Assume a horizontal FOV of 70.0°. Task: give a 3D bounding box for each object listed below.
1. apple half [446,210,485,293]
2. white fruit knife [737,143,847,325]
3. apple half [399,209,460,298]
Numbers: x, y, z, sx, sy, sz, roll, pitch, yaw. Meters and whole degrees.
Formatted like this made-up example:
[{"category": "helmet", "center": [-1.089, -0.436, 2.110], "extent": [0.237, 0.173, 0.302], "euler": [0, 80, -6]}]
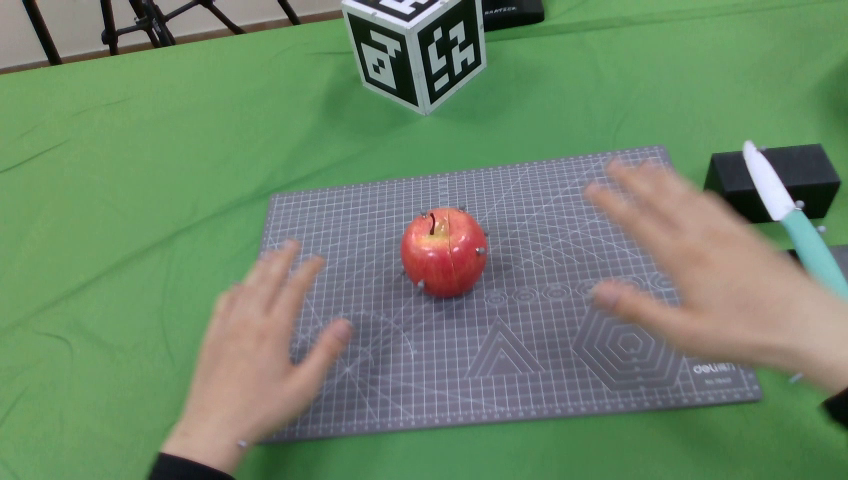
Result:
[{"category": "apple half", "center": [0.042, 0.010, 0.570], "extent": [0.033, 0.082, 0.080], "euler": [-10, 49, 9]}, {"category": "white fruit knife", "center": [0.309, -0.017, 0.519], "extent": [0.027, 0.016, 0.205], "euler": [-11, 48, 12]}, {"category": "apple half", "center": [0.005, 0.016, 0.575], "extent": [0.053, 0.075, 0.080], "euler": [-9, 54, 9]}]
